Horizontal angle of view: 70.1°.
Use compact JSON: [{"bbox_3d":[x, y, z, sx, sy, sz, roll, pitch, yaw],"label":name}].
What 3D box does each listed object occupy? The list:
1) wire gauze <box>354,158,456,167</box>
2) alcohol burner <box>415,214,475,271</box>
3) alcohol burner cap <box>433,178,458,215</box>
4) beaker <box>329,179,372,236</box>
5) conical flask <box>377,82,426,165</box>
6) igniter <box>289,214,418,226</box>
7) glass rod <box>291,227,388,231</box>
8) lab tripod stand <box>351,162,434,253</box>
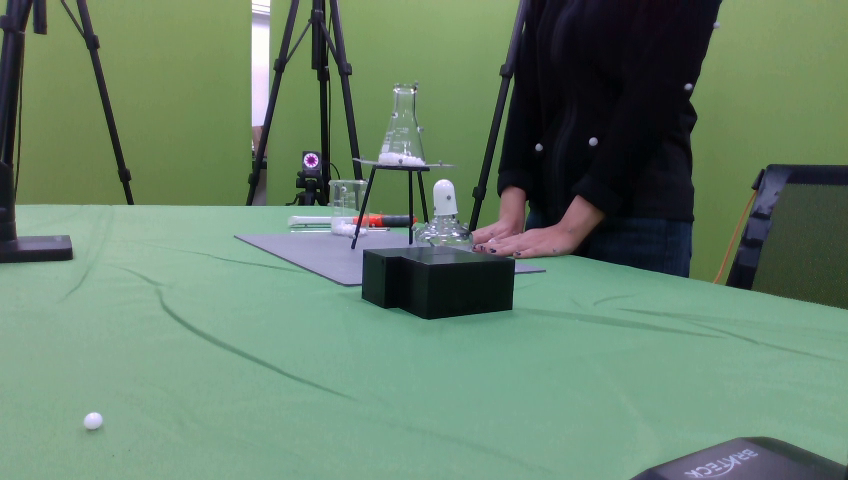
[{"bbox_3d":[-0.029,-0.117,0.927,0.122,0.011,0.124,0,5,-36],"label":"wire gauze"},{"bbox_3d":[0.027,-0.020,0.783,0.078,0.119,0.078,1,8,0],"label":"alcohol burner"},{"bbox_3d":[0.026,-0.056,0.777,0.034,0.048,0.034,-6,9,1],"label":"alcohol burner cap"},{"bbox_3d":[-0.137,-0.060,1.101,0.084,0.100,0.074,4,7,20],"label":"beaker"},{"bbox_3d":[-0.032,-0.175,0.918,0.075,0.122,0.075,3,8,0],"label":"conical flask"},{"bbox_3d":[-0.141,-0.042,1.258,0.278,0.025,0.057,-1,-2,-30],"label":"igniter"},{"bbox_3d":[-0.161,-0.023,1.177,0.201,0.008,0.008,-2,8,-28],"label":"glass rod"},{"bbox_3d":[-0.034,-0.052,0.933,0.148,0.131,0.148,4,7,0],"label":"lab tripod stand"}]
